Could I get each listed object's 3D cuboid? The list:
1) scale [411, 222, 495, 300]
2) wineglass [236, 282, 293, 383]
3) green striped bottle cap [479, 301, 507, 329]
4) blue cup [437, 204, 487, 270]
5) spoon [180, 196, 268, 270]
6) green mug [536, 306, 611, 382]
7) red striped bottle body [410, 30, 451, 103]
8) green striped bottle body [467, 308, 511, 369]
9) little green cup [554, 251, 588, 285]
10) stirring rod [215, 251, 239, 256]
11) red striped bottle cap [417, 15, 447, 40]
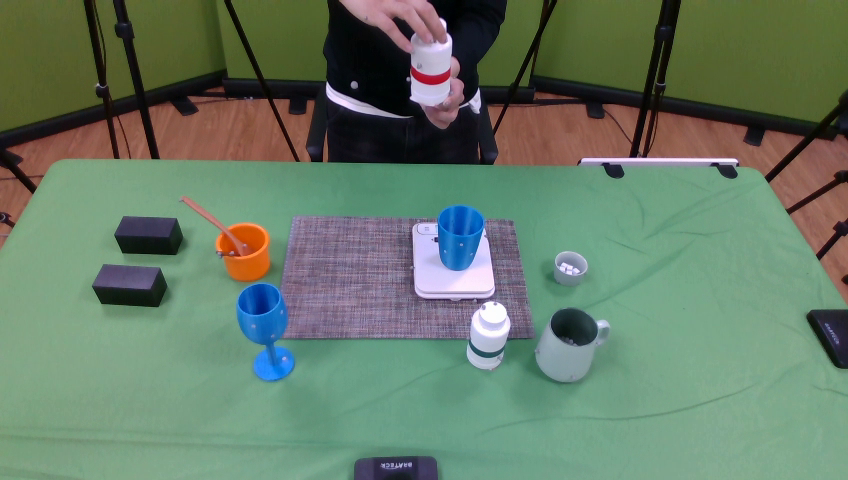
[{"bbox_3d":[0.052,0.031,1.158,0.149,0.032,0.199,1,46,-4],"label":"scale"},{"bbox_3d":[-0.243,0.143,0.934,0.074,0.173,0.073,2,46,-2],"label":"wineglass"},{"bbox_3d":[0.109,0.118,0.950,0.044,0.020,0.044,2,48,-2],"label":"green striped bottle cap"},{"bbox_3d":[0.063,0.001,1.098,0.093,0.101,0.092,2,43,-2],"label":"blue cup"},{"bbox_3d":[-0.360,-0.014,1.094,0.021,0.194,0.041,-28,26,31],"label":"spoon"},{"bbox_3d":[0.250,0.167,0.996,0.125,0.105,0.092,-15,48,-19],"label":"green mug"},{"bbox_3d":[0.010,-0.277,0.929,0.063,0.120,0.062,1,49,-1],"label":"red striped bottle body"},{"bbox_3d":[0.106,0.153,0.988,0.063,0.120,0.063,2,46,-2],"label":"green striped bottle body"},{"bbox_3d":[0.277,0.055,1.151,0.061,0.039,0.061,1,46,-1],"label":"little green cup"},{"bbox_3d":[-0.339,0.024,1.059,0.014,0.176,0.006,16,86,-6],"label":"stirring rod"},{"bbox_3d":[0.011,-0.312,0.889,0.044,0.018,0.044,-1,48,1],"label":"red striped bottle cap"}]
